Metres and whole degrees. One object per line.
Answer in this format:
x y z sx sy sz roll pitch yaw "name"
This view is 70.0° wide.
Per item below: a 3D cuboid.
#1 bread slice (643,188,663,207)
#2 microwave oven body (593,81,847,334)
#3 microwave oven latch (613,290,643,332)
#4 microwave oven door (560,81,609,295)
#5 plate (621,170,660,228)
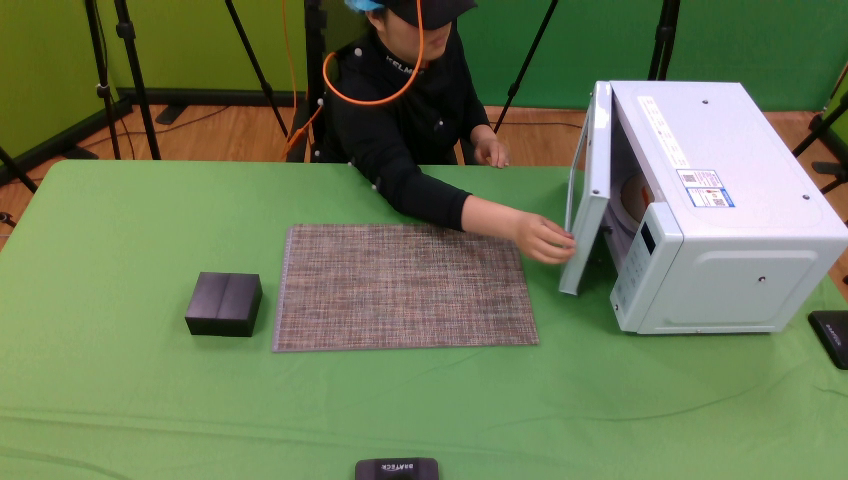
0.494 -0.057 1.196 0.105 0.019 0.131 6 43 4 "bread slice"
0.501 -0.070 1.132 0.326 0.261 0.438 -1 45 -3 "microwave oven body"
0.357 0.124 1.068 0.030 0.029 0.078 1 45 -2 "microwave oven latch"
0.309 -0.107 1.148 0.039 0.245 0.354 11 46 6 "microwave oven door"
0.490 -0.061 1.193 0.209 0.038 0.208 2 45 -2 "plate"
